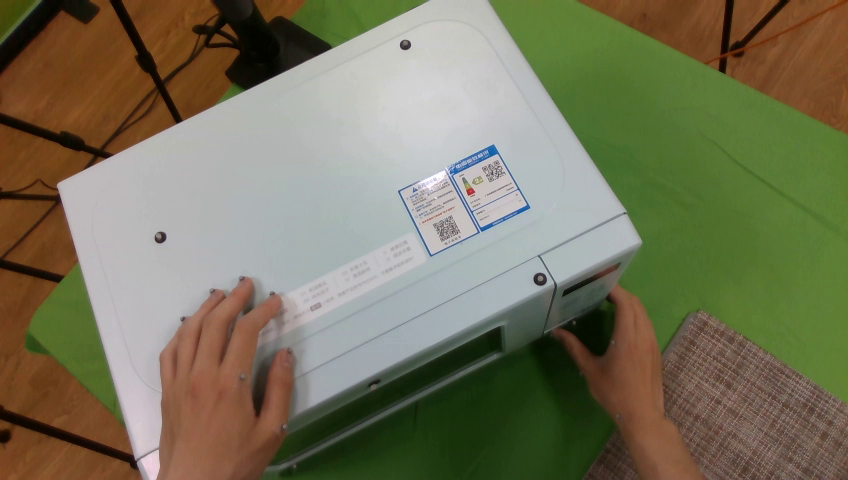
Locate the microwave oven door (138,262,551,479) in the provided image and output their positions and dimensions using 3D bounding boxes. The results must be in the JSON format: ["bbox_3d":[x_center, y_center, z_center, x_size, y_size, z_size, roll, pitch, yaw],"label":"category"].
[{"bbox_3d":[-0.047,0.138,0.583,0.356,0.245,0.039,-27,70,-2],"label":"microwave oven door"}]

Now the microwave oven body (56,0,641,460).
[{"bbox_3d":[-0.072,-0.002,0.636,0.442,0.262,0.323,-27,71,-1],"label":"microwave oven body"}]

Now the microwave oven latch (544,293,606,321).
[{"bbox_3d":[0.164,0.068,0.685,0.079,0.030,0.030,-18,71,2],"label":"microwave oven latch"}]
